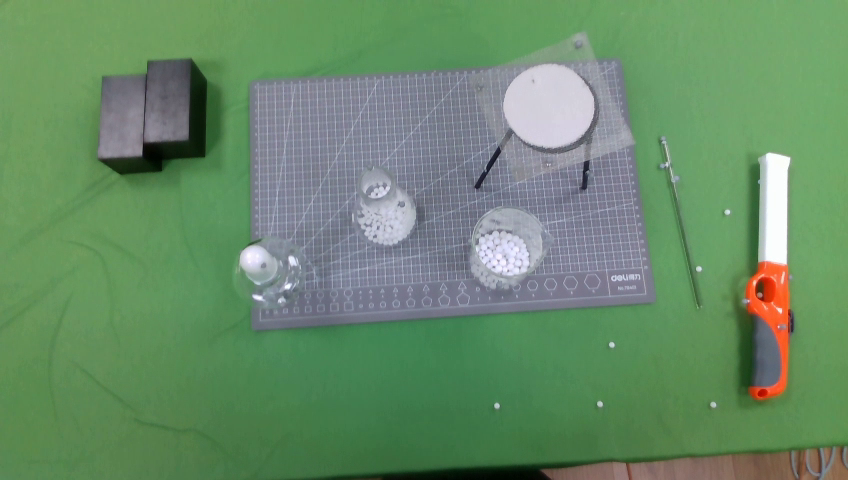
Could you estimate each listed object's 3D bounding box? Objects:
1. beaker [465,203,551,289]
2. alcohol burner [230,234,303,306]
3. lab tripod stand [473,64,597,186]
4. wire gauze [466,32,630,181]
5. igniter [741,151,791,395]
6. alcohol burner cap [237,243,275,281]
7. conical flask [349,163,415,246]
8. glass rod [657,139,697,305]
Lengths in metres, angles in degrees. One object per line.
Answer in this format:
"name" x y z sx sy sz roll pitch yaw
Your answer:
"beaker" 0.083 0.010 0.639 0.084 0.100 0.073 -6 77 -2
"alcohol burner" -0.166 0.028 0.627 0.078 0.119 0.077 0 78 -1
"lab tripod stand" 0.120 -0.112 0.648 0.148 0.132 0.147 0 79 1
"wire gauze" 0.119 -0.129 0.583 0.125 0.011 0.121 -20 80 -3
"igniter" 0.381 0.034 0.674 0.057 0.025 0.275 10 78 -8
"alcohol burner cap" -0.166 0.019 0.592 0.034 0.048 0.033 1 75 -4
"conical flask" -0.048 -0.042 0.638 0.075 0.122 0.075 0 77 0
"glass rod" 0.289 -0.024 0.696 0.008 0.008 0.198 -6 77 -2
